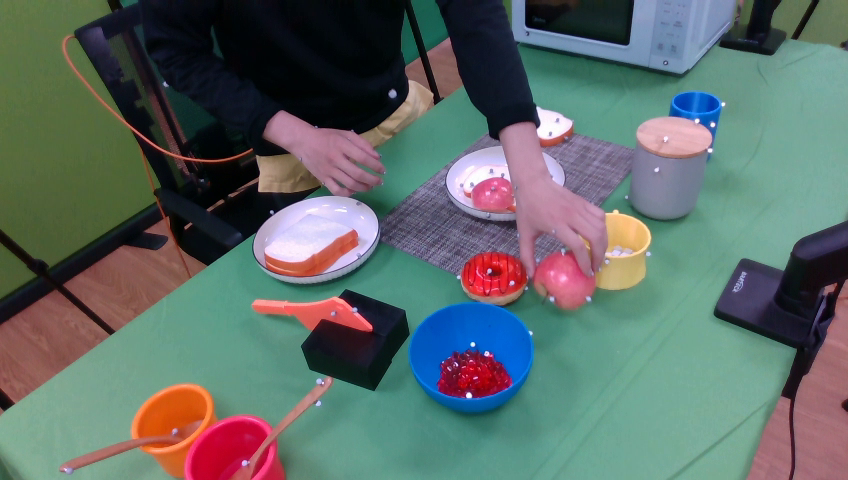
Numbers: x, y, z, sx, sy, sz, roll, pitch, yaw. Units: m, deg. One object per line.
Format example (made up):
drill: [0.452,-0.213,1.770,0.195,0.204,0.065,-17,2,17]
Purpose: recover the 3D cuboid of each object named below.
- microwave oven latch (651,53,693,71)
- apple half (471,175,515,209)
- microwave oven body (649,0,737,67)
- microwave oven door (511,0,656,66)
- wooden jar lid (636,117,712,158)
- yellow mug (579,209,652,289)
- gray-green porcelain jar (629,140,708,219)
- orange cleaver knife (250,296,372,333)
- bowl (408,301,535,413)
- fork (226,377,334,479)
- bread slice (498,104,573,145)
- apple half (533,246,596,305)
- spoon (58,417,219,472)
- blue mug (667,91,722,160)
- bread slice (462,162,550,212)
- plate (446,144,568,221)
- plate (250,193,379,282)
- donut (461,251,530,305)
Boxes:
microwave oven latch: [0.532,-0.386,1.301,0.078,0.029,0.030,27,52,34]
apple half: [0.114,-0.086,1.004,0.081,0.033,0.081,-4,42,4]
microwave oven body: [0.475,-0.602,1.411,0.438,0.261,0.327,23,50,32]
microwave oven door: [0.351,-0.540,1.349,0.353,0.245,0.039,24,50,31]
wooden jar lid: [0.377,-0.151,0.917,0.108,0.021,0.108,-2,41,3]
yellow mug: [0.279,0.004,0.893,0.099,0.064,0.130,6,42,14]
gray-green porcelain jar: [0.383,-0.105,0.958,0.106,0.127,0.105,-4,41,4]
orange cleaver knife: [-0.159,0.103,0.828,0.210,0.078,0.012,-4,43,39]
bowl: [0.060,0.156,0.739,0.151,0.077,0.150,-4,40,4]
fork: [-0.163,0.216,0.647,0.207,0.019,0.028,-49,41,16]
bread slice: [0.231,-0.231,1.205,0.105,0.019,0.130,-36,47,-28]
apple half: [0.185,0.039,0.801,0.075,0.054,0.080,-32,39,-13]
spoon: [-0.304,0.221,0.661,0.041,0.195,0.021,19,92,27]
blue mug: [0.473,-0.207,1.079,0.082,0.106,0.116,4,42,13]
bread slice: [0.135,-0.094,1.044,0.133,0.018,0.107,15,44,23]
plate: [0.142,-0.096,1.045,0.207,0.039,0.206,-4,40,4]
plate: [-0.174,-0.001,0.985,0.209,0.038,0.208,-3,40,3]
donut: [0.103,0.054,0.872,0.099,0.048,0.098,-4,40,4]
